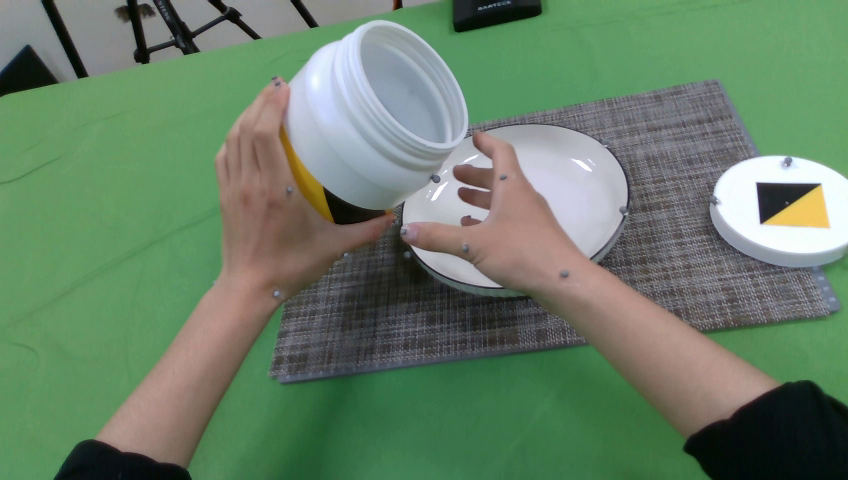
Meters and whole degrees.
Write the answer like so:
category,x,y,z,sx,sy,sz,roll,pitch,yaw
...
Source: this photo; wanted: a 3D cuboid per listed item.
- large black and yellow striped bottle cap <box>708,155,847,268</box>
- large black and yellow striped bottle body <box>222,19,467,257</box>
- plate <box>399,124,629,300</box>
category,x,y,z,sx,sy,sz,roll,pitch,yaw
large black and yellow striped bottle cap,0.300,-0.027,0.506,0.115,0.019,0.114,-6,50,7
large black and yellow striped bottle body,-0.066,-0.077,0.494,0.184,0.132,0.129,-32,36,39
plate,0.082,-0.027,0.560,0.207,0.039,0.205,-9,48,10
